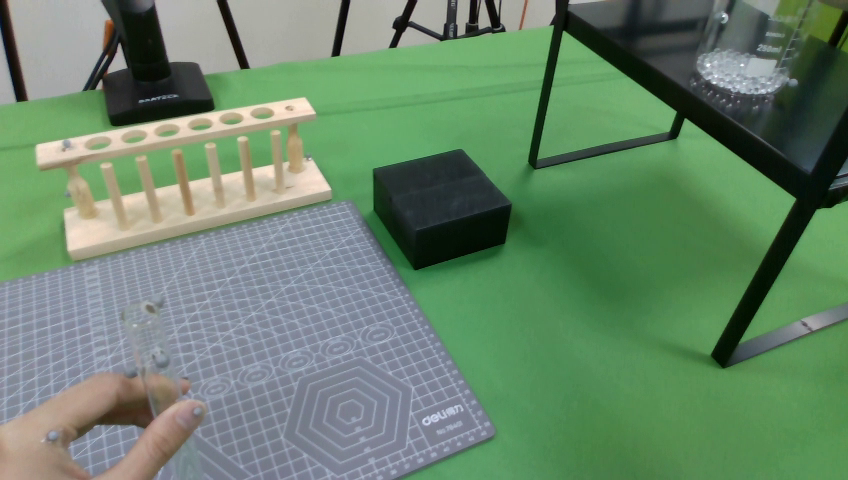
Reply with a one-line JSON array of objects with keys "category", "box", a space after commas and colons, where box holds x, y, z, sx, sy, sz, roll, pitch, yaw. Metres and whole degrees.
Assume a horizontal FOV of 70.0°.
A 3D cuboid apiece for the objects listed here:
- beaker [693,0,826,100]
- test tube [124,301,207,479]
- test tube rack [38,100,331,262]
[{"category": "beaker", "box": [0.249, -0.164, 0.452, 0.084, 0.101, 0.073, -1, 42, -6]}, {"category": "test tube", "box": [-0.126, 0.091, 0.304, 0.017, 0.151, 0.017, 3, 36, -2]}, {"category": "test tube rack", "box": [-0.217, -0.062, 0.580, 0.243, 0.086, 0.066, -16, 45, -21]}]
